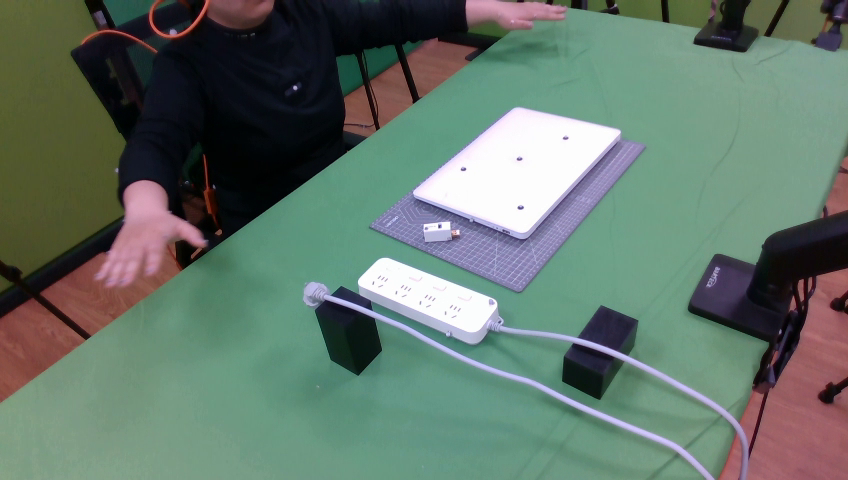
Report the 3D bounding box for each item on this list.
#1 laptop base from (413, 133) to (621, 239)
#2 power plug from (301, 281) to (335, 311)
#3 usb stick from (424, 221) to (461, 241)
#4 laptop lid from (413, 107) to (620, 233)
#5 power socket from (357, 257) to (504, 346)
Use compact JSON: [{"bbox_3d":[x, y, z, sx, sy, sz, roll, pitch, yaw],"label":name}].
[{"bbox_3d":[0.176,-0.134,1.101,0.233,0.023,0.355,21,48,33],"label":"laptop base"},{"bbox_3d":[-0.134,0.081,0.783,0.035,0.053,0.072,-42,47,-7],"label":"power plug"},{"bbox_3d":[0.030,-0.014,0.973,0.059,0.027,0.021,-2,42,1],"label":"usb stick"},{"bbox_3d":[0.173,-0.144,1.095,0.239,0.013,0.358,23,49,34],"label":"laptop lid"},{"bbox_3d":[0.003,0.084,0.862,0.225,0.033,0.072,20,49,28],"label":"power socket"}]
